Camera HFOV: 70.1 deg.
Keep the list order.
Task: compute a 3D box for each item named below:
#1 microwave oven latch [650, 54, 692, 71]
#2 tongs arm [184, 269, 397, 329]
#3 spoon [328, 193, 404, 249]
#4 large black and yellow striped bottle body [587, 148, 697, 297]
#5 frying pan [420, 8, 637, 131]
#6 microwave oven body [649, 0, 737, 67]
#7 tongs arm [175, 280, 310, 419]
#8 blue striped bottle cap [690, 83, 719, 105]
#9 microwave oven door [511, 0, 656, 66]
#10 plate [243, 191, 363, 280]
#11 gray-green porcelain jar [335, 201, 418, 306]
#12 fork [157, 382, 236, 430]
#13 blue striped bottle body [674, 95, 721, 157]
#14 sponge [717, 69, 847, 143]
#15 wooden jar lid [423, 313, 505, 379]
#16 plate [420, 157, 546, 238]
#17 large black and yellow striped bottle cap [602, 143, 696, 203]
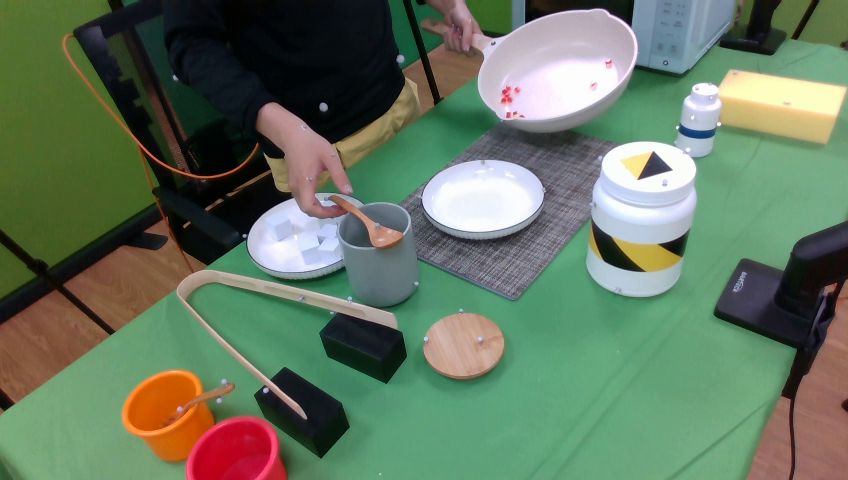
[{"bbox_3d":[0.530,-0.386,1.301,0.078,0.029,0.030,23,50,31],"label":"microwave oven latch"},{"bbox_3d":[-0.203,0.085,0.847,0.382,0.027,0.051,11,45,34],"label":"tongs arm"},{"bbox_3d":[-0.087,-0.032,0.835,0.042,0.022,0.192,-29,41,-20],"label":"spoon"},{"bbox_3d":[0.298,-0.026,0.834,0.131,0.185,0.130,-4,41,4],"label":"large black and yellow striped bottle body"},{"bbox_3d":[0.174,-0.362,1.183,0.484,0.103,0.307,35,73,30],"label":"frying pan"},{"bbox_3d":[0.475,-0.602,1.411,0.438,0.261,0.327,23,50,32],"label":"microwave oven body"},{"bbox_3d":[-0.254,0.133,0.800,0.028,0.028,0.384,-41,41,-23],"label":"tongs arm"},{"bbox_3d":[0.481,-0.251,1.038,0.044,0.021,0.044,-5,40,5],"label":"blue striped bottle cap"},{"bbox_3d":[0.351,-0.539,1.349,0.353,0.245,0.039,24,50,31],"label":"microwave oven door"},{"bbox_3d":[-0.187,-0.005,0.992,0.207,0.039,0.206,-4,40,4],"label":"plate"},{"bbox_3d":[-0.064,0.024,0.872,0.106,0.127,0.105,-4,40,4],"label":"gray-green porcelain jar"},{"bbox_3d":[-0.262,0.189,0.690,0.018,0.206,0.028,49,43,-7],"label":"fork"},{"bbox_3d":[0.486,-0.213,1.071,0.063,0.121,0.063,-4,41,4],"label":"blue striped bottle body"},{"bbox_3d":[0.663,-0.256,1.142,0.205,0.061,0.118,19,47,28],"label":"sponge"},{"bbox_3d":[0.053,0.142,0.800,0.108,0.021,0.108,-4,39,4],"label":"wooden jar lid"},{"bbox_3d":[0.099,-0.067,1.017,0.209,0.038,0.208,-4,40,4],"label":"plate"},{"bbox_3d":[0.289,-0.088,0.778,0.115,0.019,0.114,-4,39,4],"label":"large black and yellow striped bottle cap"}]
